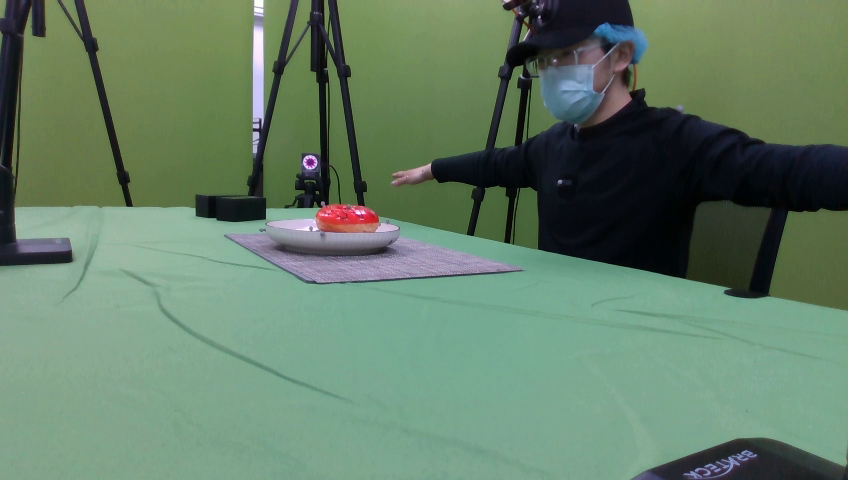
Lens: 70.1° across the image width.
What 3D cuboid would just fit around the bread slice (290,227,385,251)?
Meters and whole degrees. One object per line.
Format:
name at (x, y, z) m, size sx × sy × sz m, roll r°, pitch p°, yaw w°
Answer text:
bread slice at (-0.142, -0.004, 0.939) m, size 0.131 × 0.019 × 0.105 m, roll 9°, pitch 9°, yaw 33°

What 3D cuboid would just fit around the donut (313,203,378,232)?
donut at (-0.118, -0.030, 0.915) m, size 0.099 × 0.048 × 0.099 m, roll 5°, pitch 9°, yaw -1°

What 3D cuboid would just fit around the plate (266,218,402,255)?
plate at (-0.138, -0.006, 0.941) m, size 0.208 × 0.039 × 0.207 m, roll 2°, pitch 7°, yaw 0°
